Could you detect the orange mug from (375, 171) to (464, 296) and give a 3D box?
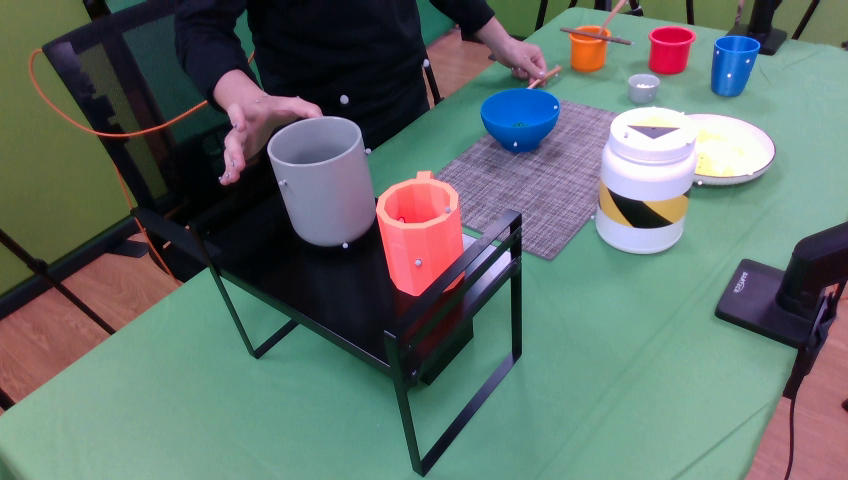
[{"bbox_3d":[-0.001,-0.016,0.662,0.083,0.101,0.125,-2,45,8],"label":"orange mug"}]

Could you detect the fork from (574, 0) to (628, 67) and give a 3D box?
[{"bbox_3d":[0.413,-0.481,1.377,0.207,0.019,0.028,-56,43,12],"label":"fork"}]

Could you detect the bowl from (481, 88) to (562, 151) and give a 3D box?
[{"bbox_3d":[0.187,-0.223,1.161,0.151,0.077,0.150,-4,40,4],"label":"bowl"}]

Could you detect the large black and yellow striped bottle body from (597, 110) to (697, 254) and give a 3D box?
[{"bbox_3d":[0.331,-0.086,0.904,0.131,0.185,0.130,-5,41,4],"label":"large black and yellow striped bottle body"}]

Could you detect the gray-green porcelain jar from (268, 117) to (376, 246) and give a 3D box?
[{"bbox_3d":[-0.115,-0.064,0.715,0.106,0.127,0.105,-4,40,4],"label":"gray-green porcelain jar"}]

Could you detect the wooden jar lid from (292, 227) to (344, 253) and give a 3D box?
[{"bbox_3d":[-0.169,-0.015,1.026,0.108,0.021,0.108,-4,40,4],"label":"wooden jar lid"}]

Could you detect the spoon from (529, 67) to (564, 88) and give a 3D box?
[{"bbox_3d":[0.248,-0.340,1.329,0.194,0.022,0.041,-38,38,-25],"label":"spoon"}]

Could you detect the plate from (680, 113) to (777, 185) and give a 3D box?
[{"bbox_3d":[0.506,-0.158,1.073,0.209,0.038,0.208,-4,40,4],"label":"plate"}]

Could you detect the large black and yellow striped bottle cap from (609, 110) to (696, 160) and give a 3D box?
[{"bbox_3d":[0.319,-0.150,0.849,0.115,0.019,0.114,-4,39,3],"label":"large black and yellow striped bottle cap"}]

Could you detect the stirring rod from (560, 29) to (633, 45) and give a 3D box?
[{"bbox_3d":[0.381,-0.452,1.345,0.174,0.006,0.014,25,50,33],"label":"stirring rod"}]

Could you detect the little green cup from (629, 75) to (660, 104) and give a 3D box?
[{"bbox_3d":[0.457,-0.314,1.260,0.061,0.039,0.061,-4,40,4],"label":"little green cup"}]

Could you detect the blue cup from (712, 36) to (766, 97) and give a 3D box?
[{"bbox_3d":[0.627,-0.350,1.227,0.092,0.100,0.092,-4,39,4],"label":"blue cup"}]
